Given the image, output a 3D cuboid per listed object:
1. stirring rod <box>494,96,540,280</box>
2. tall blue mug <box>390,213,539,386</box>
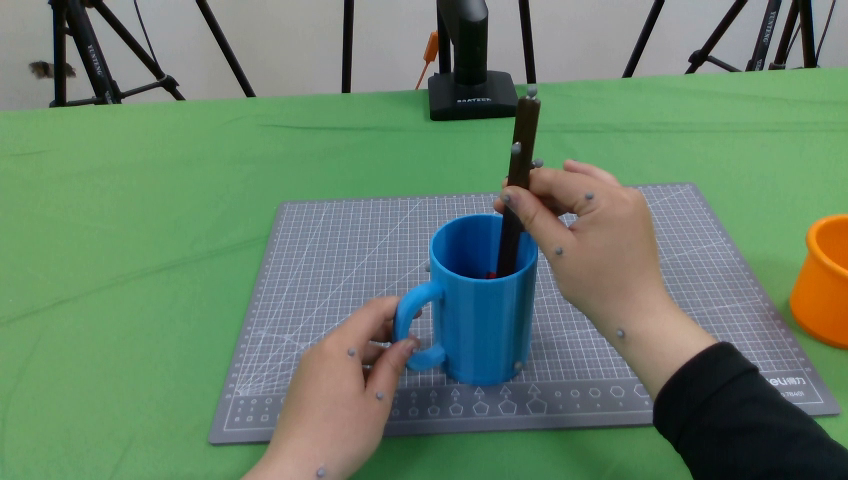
[{"bbox_3d":[0.060,-0.019,0.407,0.014,0.178,0.006,15,47,14],"label":"stirring rod"},{"bbox_3d":[0.034,0.054,0.442,0.077,0.109,0.107,19,44,24],"label":"tall blue mug"}]
